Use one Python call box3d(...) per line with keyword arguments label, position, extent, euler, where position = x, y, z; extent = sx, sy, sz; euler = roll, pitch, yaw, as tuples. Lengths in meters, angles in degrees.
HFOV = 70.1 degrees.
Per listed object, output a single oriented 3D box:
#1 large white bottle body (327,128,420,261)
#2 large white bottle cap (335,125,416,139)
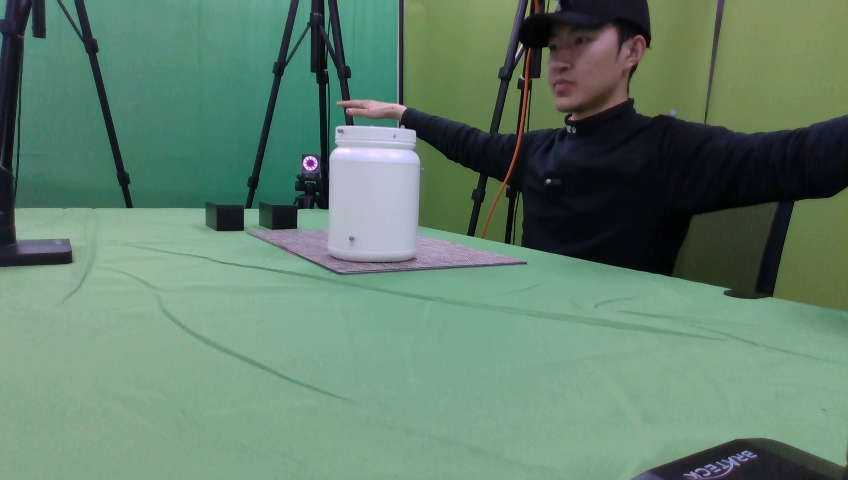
box3d(label="large white bottle body", position=(-0.072, -0.069, 0.870), extent=(0.131, 0.184, 0.130), euler=(2, 8, 0))
box3d(label="large white bottle cap", position=(-0.069, -0.152, 0.859), extent=(0.115, 0.018, 0.115), euler=(2, 8, 0))
